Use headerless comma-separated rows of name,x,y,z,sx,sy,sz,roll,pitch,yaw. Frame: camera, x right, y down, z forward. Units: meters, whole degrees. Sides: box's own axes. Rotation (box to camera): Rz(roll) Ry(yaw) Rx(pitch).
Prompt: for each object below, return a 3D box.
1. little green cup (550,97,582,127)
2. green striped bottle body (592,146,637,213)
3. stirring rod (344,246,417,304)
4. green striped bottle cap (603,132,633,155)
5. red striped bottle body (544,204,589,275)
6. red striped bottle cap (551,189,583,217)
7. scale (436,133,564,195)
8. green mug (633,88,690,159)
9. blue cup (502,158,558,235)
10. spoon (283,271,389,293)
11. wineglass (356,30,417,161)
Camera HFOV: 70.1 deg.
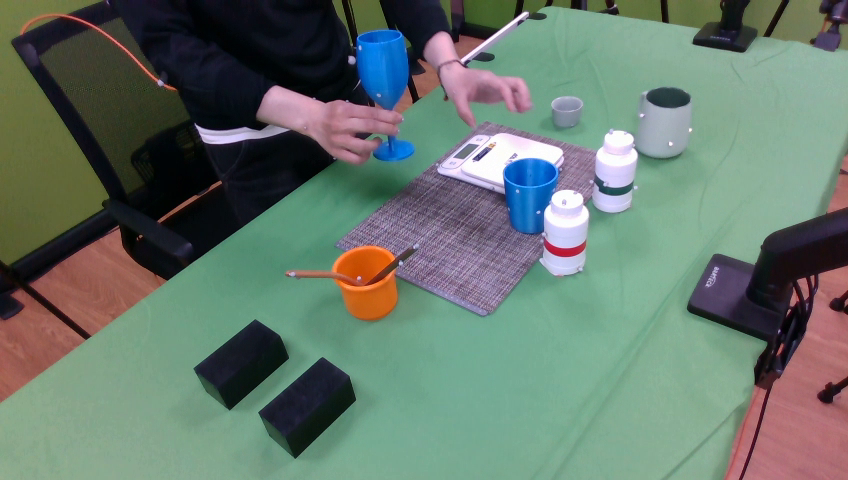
little green cup,0.284,-0.255,1.213,0.061,0.039,0.061,-4,41,4
green striped bottle body,0.307,-0.108,0.976,0.063,0.120,0.063,-4,41,4
stirring rod,-0.062,0.050,0.819,0.014,0.175,0.006,-2,63,-41
green striped bottle cap,0.302,-0.149,0.939,0.044,0.020,0.044,-3,40,3
red striped bottle body,0.206,-0.011,0.877,0.063,0.120,0.062,-4,41,4
red striped bottle cap,0.199,-0.052,0.843,0.044,0.018,0.044,-2,42,2
scale,0.137,-0.142,1.101,0.199,0.032,0.149,22,48,30
green mug,0.423,-0.217,1.099,0.093,0.105,0.124,-16,41,-10
blue cup,0.168,-0.064,0.954,0.092,0.100,0.092,-6,38,5
spoon,-0.117,0.054,0.824,0.041,0.195,0.021,16,89,38
wineglass,-0.054,-0.205,0.867,0.074,0.173,0.073,-4,35,3
